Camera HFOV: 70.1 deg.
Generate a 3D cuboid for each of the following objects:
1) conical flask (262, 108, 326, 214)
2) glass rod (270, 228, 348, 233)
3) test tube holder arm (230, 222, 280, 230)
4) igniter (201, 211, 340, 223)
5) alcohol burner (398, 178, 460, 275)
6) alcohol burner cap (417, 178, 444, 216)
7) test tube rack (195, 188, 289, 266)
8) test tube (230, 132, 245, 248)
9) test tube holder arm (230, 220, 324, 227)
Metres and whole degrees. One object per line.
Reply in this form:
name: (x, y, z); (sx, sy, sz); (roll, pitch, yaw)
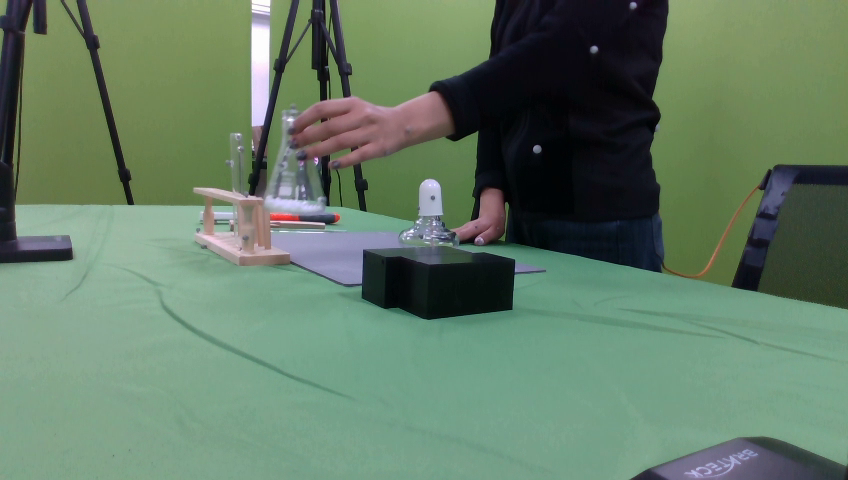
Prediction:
conical flask: (-0.153, -0.094, 0.725); (0.075, 0.122, 0.075); (4, 5, 0)
glass rod: (-0.234, -0.017, 1.104); (0.201, 0.008, 0.008); (1, 7, -26)
test tube holder arm: (-0.312, -0.025, 1.118); (0.088, 0.015, 0.010); (-1, 45, -30)
igniter: (-0.311, -0.047, 1.243); (0.278, 0.025, 0.057); (-1, -2, -24)
alcohol burner: (0.007, -0.017, 0.751); (0.078, 0.119, 0.078); (3, 9, 0)
alcohol burner cap: (0.007, -0.053, 0.746); (0.034, 0.048, 0.034); (-3, 6, 1)
test tube rack: (-0.266, -0.025, 0.864); (0.067, 0.085, 0.241); (-2, 9, -33)
test tube: (-0.242, -0.065, 0.789); (0.017, 0.150, 0.017); (0, 7, 0)
test tube holder arm: (-0.275, -0.030, 1.145); (0.179, 0.015, 0.013); (-3, 46, -31)
